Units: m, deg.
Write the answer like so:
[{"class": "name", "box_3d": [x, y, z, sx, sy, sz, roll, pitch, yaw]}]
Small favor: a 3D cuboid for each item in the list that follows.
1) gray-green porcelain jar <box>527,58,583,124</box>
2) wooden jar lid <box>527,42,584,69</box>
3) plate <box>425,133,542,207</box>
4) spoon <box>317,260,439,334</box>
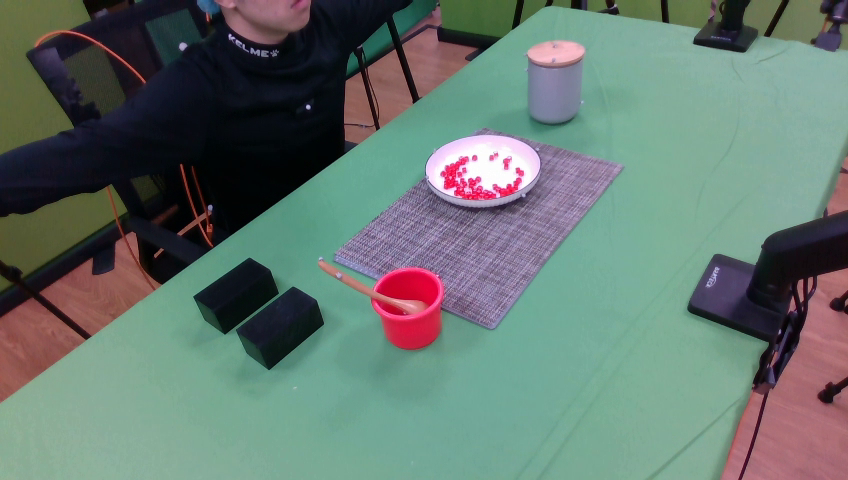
[{"class": "gray-green porcelain jar", "box_3d": [0.260, -0.305, 1.207, 0.106, 0.127, 0.105, -4, 41, 4]}, {"class": "wooden jar lid", "box_3d": [0.253, -0.352, 1.164, 0.108, 0.021, 0.108, -5, 39, 5]}, {"class": "plate", "box_3d": [0.106, -0.122, 1.079, 0.207, 0.039, 0.206, -4, 41, 4]}, {"class": "spoon", "box_3d": [-0.056, 0.074, 0.789, 0.195, 0.021, 0.041, 27, 41, -21]}]
